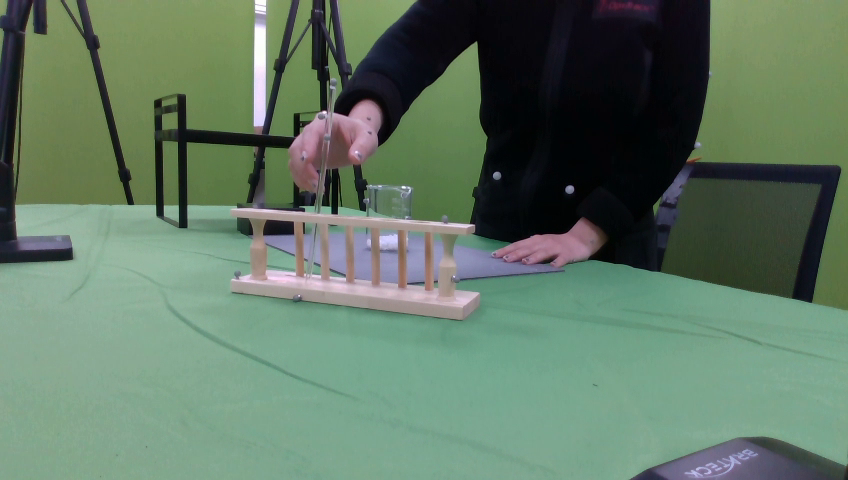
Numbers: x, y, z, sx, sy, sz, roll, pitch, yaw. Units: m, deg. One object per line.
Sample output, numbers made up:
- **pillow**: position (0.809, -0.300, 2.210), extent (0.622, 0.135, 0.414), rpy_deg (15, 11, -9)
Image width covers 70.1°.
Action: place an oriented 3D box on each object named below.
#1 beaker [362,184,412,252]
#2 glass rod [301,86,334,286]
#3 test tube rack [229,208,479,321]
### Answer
- **beaker**: position (-0.056, -0.034, 0.935), extent (0.083, 0.100, 0.074), rpy_deg (10, 11, 44)
- **glass rod**: position (-0.104, -0.049, 0.587), extent (0.008, 0.199, 0.008), rpy_deg (9, 7, -1)
- **test tube rack**: position (-0.069, 0.018, 0.597), extent (0.242, 0.085, 0.067), rpy_deg (5, 8, 18)
